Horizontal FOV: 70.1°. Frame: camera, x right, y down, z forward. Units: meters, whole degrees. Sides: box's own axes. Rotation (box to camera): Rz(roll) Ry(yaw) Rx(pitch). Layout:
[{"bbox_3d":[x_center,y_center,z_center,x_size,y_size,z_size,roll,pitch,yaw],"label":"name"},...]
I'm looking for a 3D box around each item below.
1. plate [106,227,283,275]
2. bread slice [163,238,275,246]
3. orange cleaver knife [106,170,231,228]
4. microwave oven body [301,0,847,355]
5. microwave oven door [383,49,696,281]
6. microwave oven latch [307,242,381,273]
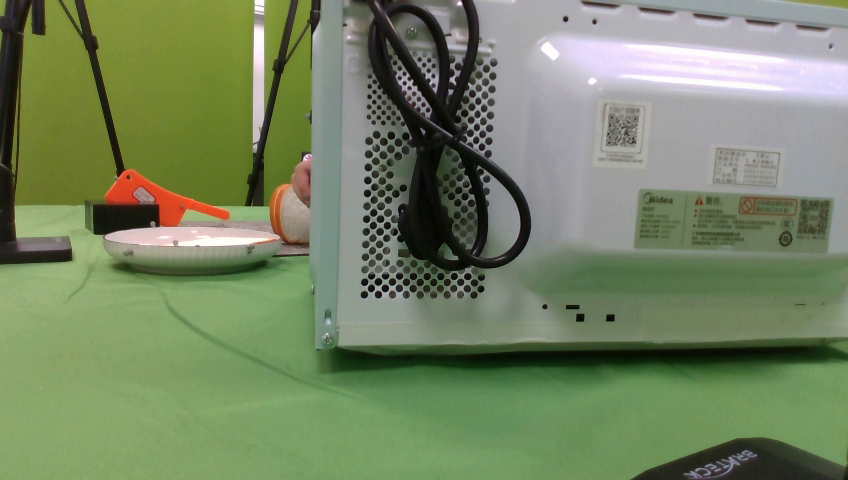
[{"bbox_3d":[-0.288,0.013,0.772,0.208,0.039,0.207,2,7,0],"label":"plate"},{"bbox_3d":[-0.268,0.014,0.759,0.106,0.018,0.135,2,8,21],"label":"bread slice"},{"bbox_3d":[-0.458,-0.060,1.097,0.212,0.077,0.012,23,-4,-38],"label":"orange cleaver knife"},{"bbox_3d":[0.120,-0.053,0.535,0.443,0.260,0.325,2,7,-11],"label":"microwave oven body"},{"bbox_3d":[0.136,-0.077,0.683,0.357,0.243,0.039,1,6,-12],"label":"microwave oven door"},{"bbox_3d":[-0.086,0.019,0.656,0.079,0.029,0.030,2,7,-10],"label":"microwave oven latch"}]
